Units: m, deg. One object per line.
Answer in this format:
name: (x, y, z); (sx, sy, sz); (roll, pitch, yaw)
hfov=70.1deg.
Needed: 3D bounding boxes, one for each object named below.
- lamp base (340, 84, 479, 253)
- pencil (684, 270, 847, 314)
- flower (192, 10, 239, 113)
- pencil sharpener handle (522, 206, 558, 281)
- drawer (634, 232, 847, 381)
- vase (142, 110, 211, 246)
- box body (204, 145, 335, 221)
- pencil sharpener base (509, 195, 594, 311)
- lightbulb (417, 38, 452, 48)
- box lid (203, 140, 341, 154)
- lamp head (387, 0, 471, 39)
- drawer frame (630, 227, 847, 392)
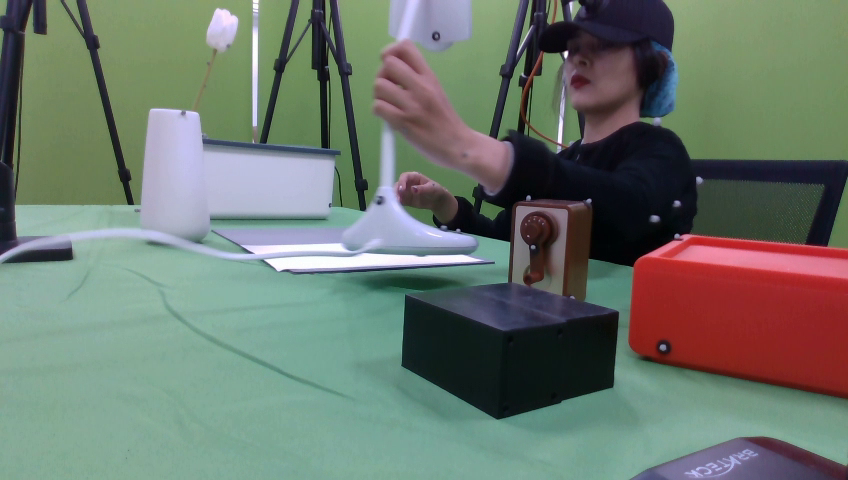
lamp base: (-0.019, -0.076, 0.682); (0.160, 0.180, 0.180); (2, 5, 18)
pencil: (0.307, 0.046, 0.517); (0.194, 0.012, 0.012); (13, 5, -11)
flower: (-0.354, -0.174, 0.915); (0.038, 0.361, 0.044); (18, -4, 11)
pencil sharpener handle: (0.102, 0.003, 0.555); (0.036, 0.067, 0.031); (-1, 5, 31)
drawer: (0.292, 0.045, 0.488); (0.193, 0.073, 0.213); (7, 10, 30)
vase: (-0.378, -0.093, 0.920); (0.098, 0.200, 0.098); (2, 9, 0)
box body: (-0.411, -0.135, 1.386); (0.366, 0.160, 0.253); (-2, 9, -29)
pencil sharpener base: (0.126, 0.011, 0.602); (0.061, 0.107, 0.077); (7, 9, 30)
lightbulb: (0.010, -0.305, 0.784); (0.059, 0.108, 0.059); (-8, 23, 4)
box lid: (-0.396, -0.212, 1.373); (0.373, 0.015, 0.262); (-1, 9, -29)
lamp head: (0.006, -0.322, 0.765); (0.112, 0.123, 0.112); (-1, 35, 1)
drawer frame: (0.292, 0.043, 0.484); (0.201, 0.082, 0.214); (7, 9, 29)
